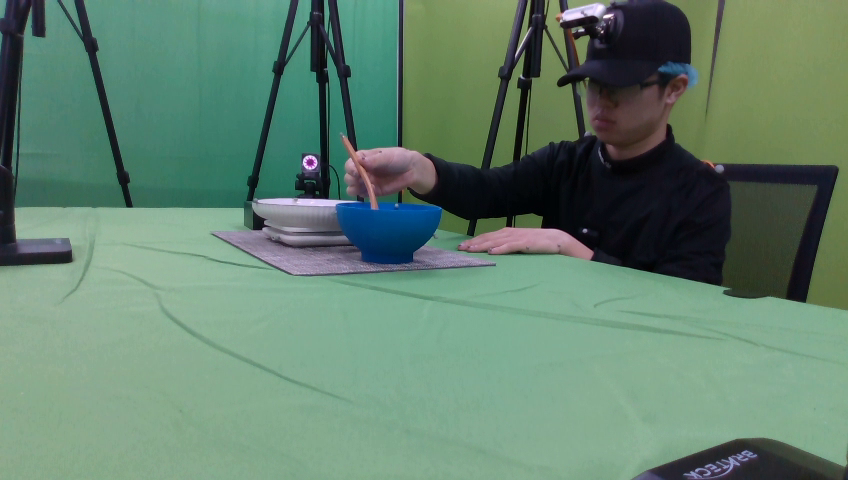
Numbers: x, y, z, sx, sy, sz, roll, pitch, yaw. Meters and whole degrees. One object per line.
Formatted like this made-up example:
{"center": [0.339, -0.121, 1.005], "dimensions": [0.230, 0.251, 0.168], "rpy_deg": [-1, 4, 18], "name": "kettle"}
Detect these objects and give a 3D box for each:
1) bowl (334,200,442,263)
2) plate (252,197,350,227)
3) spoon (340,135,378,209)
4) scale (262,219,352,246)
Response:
{"center": [-0.051, -0.012, 0.849], "dimensions": [0.151, 0.077, 0.151], "rpy_deg": [2, 8, 0], "name": "bowl"}
{"center": [-0.178, -0.047, 1.012], "dimensions": [0.209, 0.038, 0.209], "rpy_deg": [2, 6, 0], "name": "plate"}
{"center": [-0.080, -0.071, 0.860], "dimensions": [0.021, 0.193, 0.042], "rpy_deg": [-27, -18, 17], "name": "spoon"}
{"center": [-0.160, -0.015, 1.028], "dimensions": [0.202, 0.031, 0.148], "rpy_deg": [-2, 8, -32], "name": "scale"}
